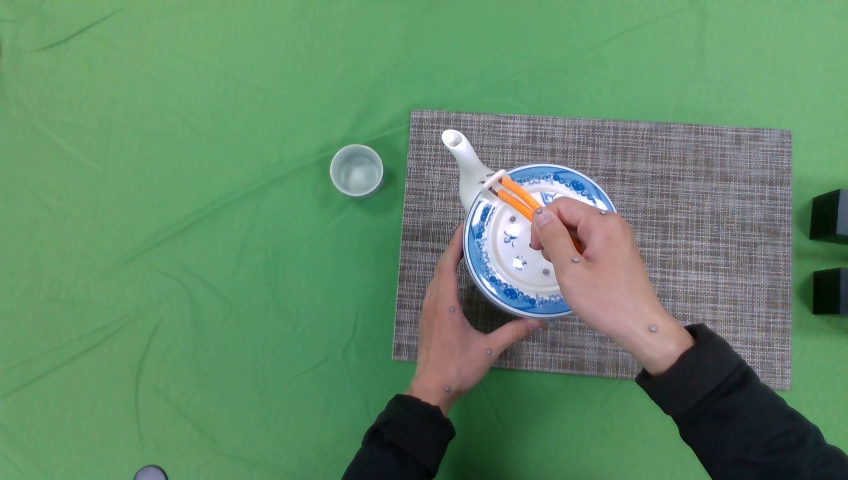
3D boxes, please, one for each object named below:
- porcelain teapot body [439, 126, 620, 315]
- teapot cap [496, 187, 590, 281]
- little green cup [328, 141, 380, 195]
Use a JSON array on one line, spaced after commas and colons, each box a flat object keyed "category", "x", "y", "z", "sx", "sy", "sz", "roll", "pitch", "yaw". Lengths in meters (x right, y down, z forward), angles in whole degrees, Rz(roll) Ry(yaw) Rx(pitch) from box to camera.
[{"category": "porcelain teapot body", "x": 0.087, "y": -0.021, "z": 0.576, "sx": 0.145, "sy": 0.226, "sz": 0.205, "roll": -45, "pitch": 82, "yaw": 0}, {"category": "teapot cap", "x": 0.105, "y": -0.006, "z": 0.534, "sx": 0.085, "sy": 0.044, "sz": 0.085, "roll": -1, "pitch": 82, "yaw": 4}, {"category": "little green cup", "x": -0.079, "y": -0.081, "z": 0.710, "sx": 0.061, "sy": 0.039, "sz": 0.061, "roll": 0, "pitch": 83, "yaw": 3}]
